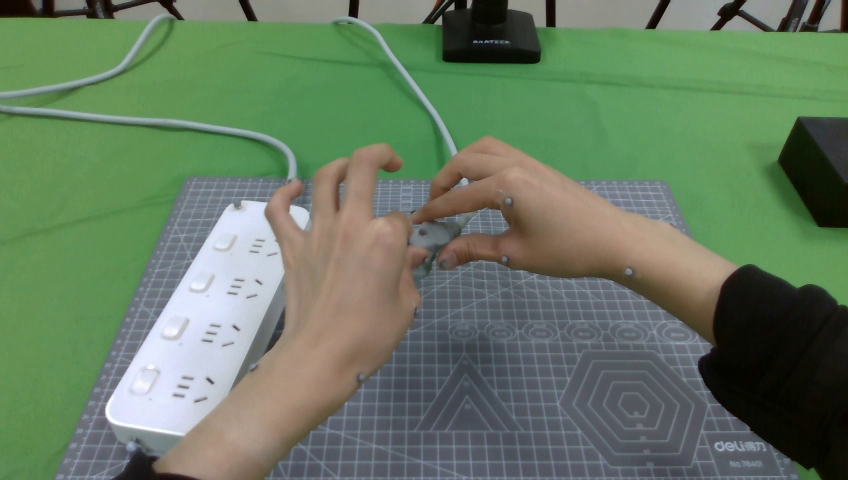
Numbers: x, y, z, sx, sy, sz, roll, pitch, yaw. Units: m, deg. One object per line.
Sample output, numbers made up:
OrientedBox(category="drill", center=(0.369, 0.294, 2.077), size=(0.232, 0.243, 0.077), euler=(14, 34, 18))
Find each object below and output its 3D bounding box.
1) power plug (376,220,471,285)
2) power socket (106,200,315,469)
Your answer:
OrientedBox(category="power plug", center=(0.002, 0.012, 0.415), size=(0.073, 0.053, 0.035), euler=(3, 52, -45))
OrientedBox(category="power socket", center=(-0.141, 0.050, 0.434), size=(0.072, 0.033, 0.225), euler=(8, 44, 6))
